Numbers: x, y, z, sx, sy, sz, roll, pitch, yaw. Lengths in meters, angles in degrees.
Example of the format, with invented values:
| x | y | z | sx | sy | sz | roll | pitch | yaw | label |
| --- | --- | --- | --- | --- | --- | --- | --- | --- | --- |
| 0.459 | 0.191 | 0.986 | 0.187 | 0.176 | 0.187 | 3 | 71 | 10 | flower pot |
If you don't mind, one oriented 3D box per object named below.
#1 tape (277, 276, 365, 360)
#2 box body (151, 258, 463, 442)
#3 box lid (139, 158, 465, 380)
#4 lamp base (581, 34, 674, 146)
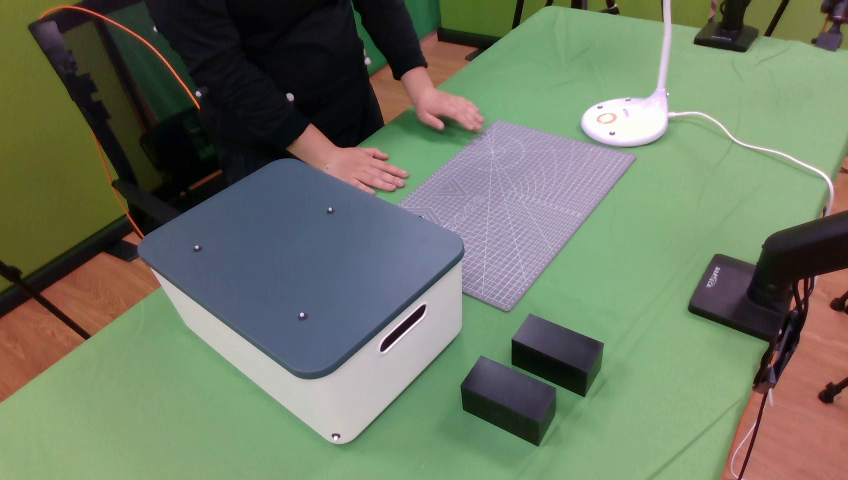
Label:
| x | y | z | sx | sy | sz | roll | pitch | yaw | label |
| --- | --- | --- | --- | --- | --- | --- | --- | --- | --- |
| -0.140 | 0.106 | 0.832 | 0.117 | 0.053 | 0.116 | -4 | 41 | 4 | tape |
| -0.152 | 0.064 | 0.807 | 0.361 | 0.161 | 0.255 | 26 | 51 | 33 | box body |
| -0.158 | 0.010 | 0.758 | 0.368 | 0.015 | 0.264 | 26 | 50 | 33 | box lid |
| 0.392 | -0.291 | 1.129 | 0.180 | 0.181 | 0.159 | -11 | 41 | -8 | lamp base |
